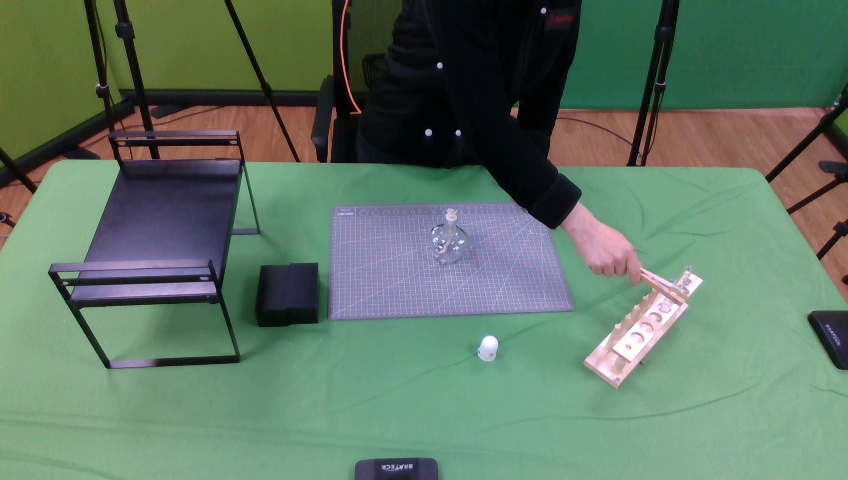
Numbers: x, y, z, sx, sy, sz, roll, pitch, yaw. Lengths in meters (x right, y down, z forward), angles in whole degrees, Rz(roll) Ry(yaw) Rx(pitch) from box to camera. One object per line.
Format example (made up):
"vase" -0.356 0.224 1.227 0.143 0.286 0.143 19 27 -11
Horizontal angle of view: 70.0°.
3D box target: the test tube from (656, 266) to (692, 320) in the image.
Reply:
"test tube" 0.402 0.089 0.979 0.017 0.151 0.017 -1 53 1

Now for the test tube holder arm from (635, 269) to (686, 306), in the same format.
"test tube holder arm" 0.382 0.075 0.982 0.010 0.015 0.087 -38 63 -21

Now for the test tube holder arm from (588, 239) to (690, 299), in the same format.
"test tube holder arm" 0.352 0.047 1.001 0.177 0.015 0.013 32 63 21

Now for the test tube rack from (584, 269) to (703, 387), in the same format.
"test tube rack" 0.381 0.139 1.045 0.066 0.085 0.242 37 54 27

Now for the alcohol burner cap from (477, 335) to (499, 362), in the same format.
"alcohol burner cap" 0.109 0.180 1.017 0.034 0.048 0.033 4 50 -4

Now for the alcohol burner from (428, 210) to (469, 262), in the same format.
"alcohol burner" 0.048 -0.014 1.146 0.078 0.119 0.077 3 48 -3
